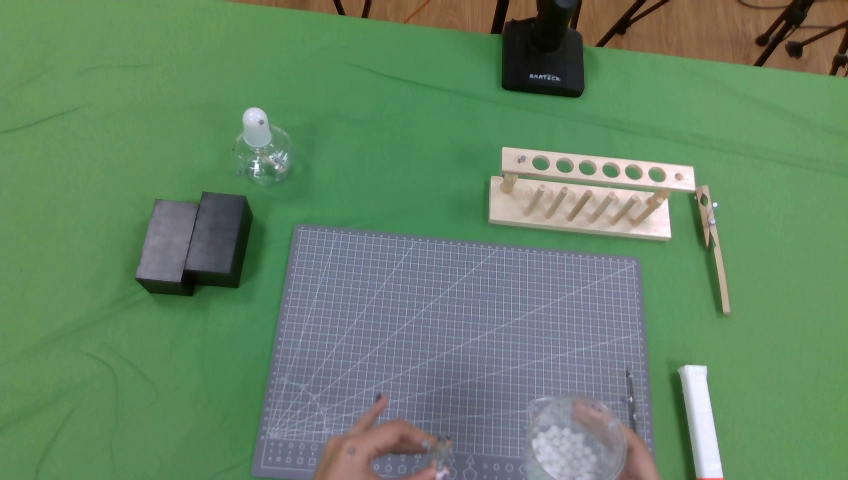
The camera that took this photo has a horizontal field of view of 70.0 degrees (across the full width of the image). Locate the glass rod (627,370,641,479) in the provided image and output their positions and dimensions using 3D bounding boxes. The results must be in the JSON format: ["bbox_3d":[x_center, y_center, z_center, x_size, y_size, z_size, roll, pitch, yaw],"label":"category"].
[{"bbox_3d":[0.242,0.248,0.693,0.008,0.008,0.198,5,67,-4],"label":"glass rod"}]

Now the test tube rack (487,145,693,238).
[{"bbox_3d":[0.209,-0.060,0.780,0.243,0.085,0.066,5,67,-4],"label":"test tube rack"}]

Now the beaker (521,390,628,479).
[{"bbox_3d":[0.117,0.174,0.506,0.083,0.101,0.074,39,68,23],"label":"beaker"}]

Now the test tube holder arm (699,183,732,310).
[{"bbox_3d":[0.386,0.006,0.806,0.013,0.015,0.177,-15,65,26],"label":"test tube holder arm"}]

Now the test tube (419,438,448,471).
[{"bbox_3d":[0.007,0.188,0.526,0.017,0.151,0.017,1,65,-3],"label":"test tube"}]

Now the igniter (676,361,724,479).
[{"bbox_3d":[0.322,0.275,0.684,0.057,0.025,0.274,7,66,-14],"label":"igniter"}]

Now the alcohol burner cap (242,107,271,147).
[{"bbox_3d":[-0.198,-0.136,0.713,0.034,0.048,0.033,5,61,-9],"label":"alcohol burner cap"}]

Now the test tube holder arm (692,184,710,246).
[{"bbox_3d":[0.379,-0.034,0.825,0.010,0.015,0.087,-14,66,27],"label":"test tube holder arm"}]

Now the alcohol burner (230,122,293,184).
[{"bbox_3d":[-0.202,-0.121,0.746,0.078,0.120,0.077,2,65,-3],"label":"alcohol burner"}]
